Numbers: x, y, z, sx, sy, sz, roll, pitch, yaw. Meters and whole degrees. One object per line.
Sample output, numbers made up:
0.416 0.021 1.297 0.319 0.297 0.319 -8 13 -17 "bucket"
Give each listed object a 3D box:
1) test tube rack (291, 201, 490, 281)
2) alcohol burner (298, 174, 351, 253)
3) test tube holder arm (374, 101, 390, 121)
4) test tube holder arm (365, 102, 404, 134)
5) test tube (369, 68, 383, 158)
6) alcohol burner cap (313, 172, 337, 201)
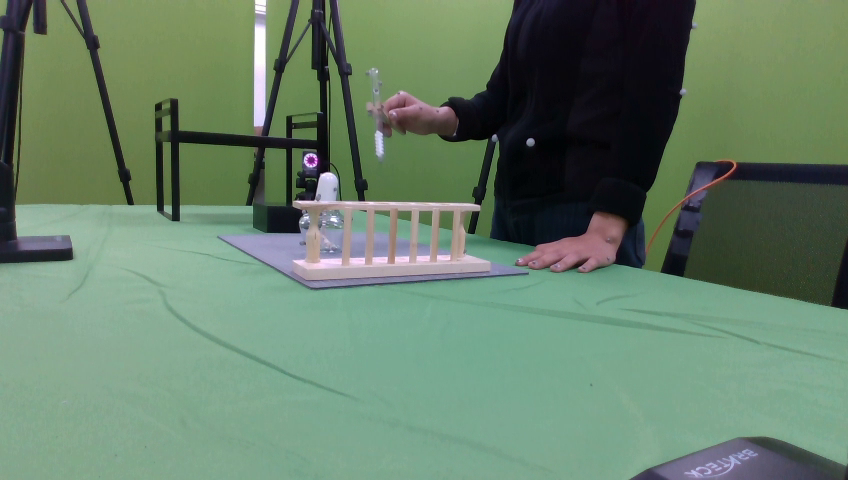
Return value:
-0.035 -0.002 0.745 0.243 0.085 0.066 -1 8 -28 "test tube rack"
-0.146 -0.040 0.894 0.078 0.119 0.078 5 7 0 "alcohol burner"
-0.070 -0.215 1.017 0.010 0.015 0.088 0 -3 7 "test tube holder arm"
-0.066 -0.213 1.062 0.013 0.015 0.179 0 -3 15 "test tube holder arm"
-0.078 -0.209 0.995 0.017 0.150 0.017 -3 -4 0 "test tube"
-0.144 -0.076 0.888 0.034 0.048 0.034 8 6 -1 "alcohol burner cap"
